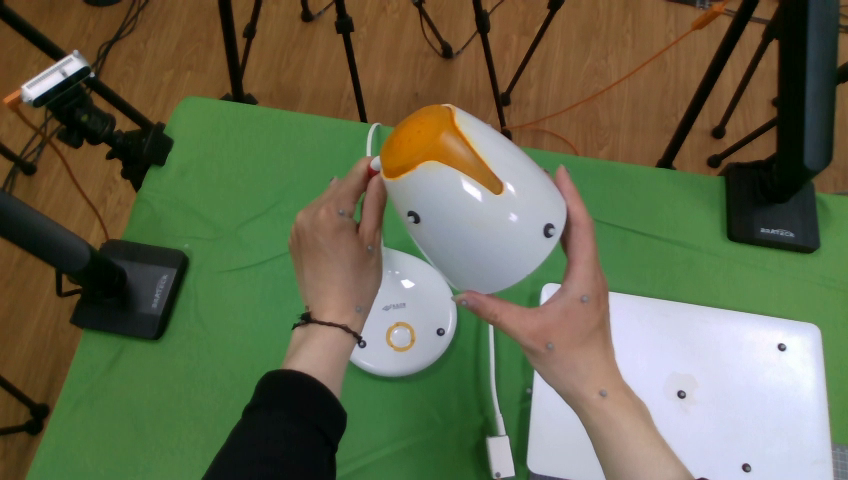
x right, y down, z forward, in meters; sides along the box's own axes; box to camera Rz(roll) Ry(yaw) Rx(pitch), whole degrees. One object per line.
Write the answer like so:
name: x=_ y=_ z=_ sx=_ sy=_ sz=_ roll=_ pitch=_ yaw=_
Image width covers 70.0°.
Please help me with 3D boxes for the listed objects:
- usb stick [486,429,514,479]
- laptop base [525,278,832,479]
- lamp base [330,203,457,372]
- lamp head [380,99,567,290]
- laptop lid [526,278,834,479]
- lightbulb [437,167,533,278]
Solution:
usb stick: x=0.089 y=0.252 z=0.703 sx=0.027 sy=0.021 sz=0.059 roll=-4 pitch=76 yaw=-3
laptop base: x=0.308 y=0.182 z=0.741 sx=0.354 sy=0.023 sz=0.234 roll=8 pitch=70 yaw=3
lamp base: x=-0.043 y=0.047 z=0.703 sx=0.161 sy=0.181 sz=0.177 roll=-20 pitch=66 yaw=-9
lamp head: x=0.024 y=-0.041 z=0.434 sx=0.124 sy=0.111 sz=0.112 roll=42 pitch=67 yaw=-29
laptop lid: x=0.307 y=0.179 z=0.729 sx=0.356 sy=0.013 sz=0.240 roll=10 pitch=69 yaw=3
lightbulb: x=0.041 y=-0.014 z=0.444 sx=0.059 sy=0.109 sz=0.059 roll=-19 pitch=46 yaw=21
